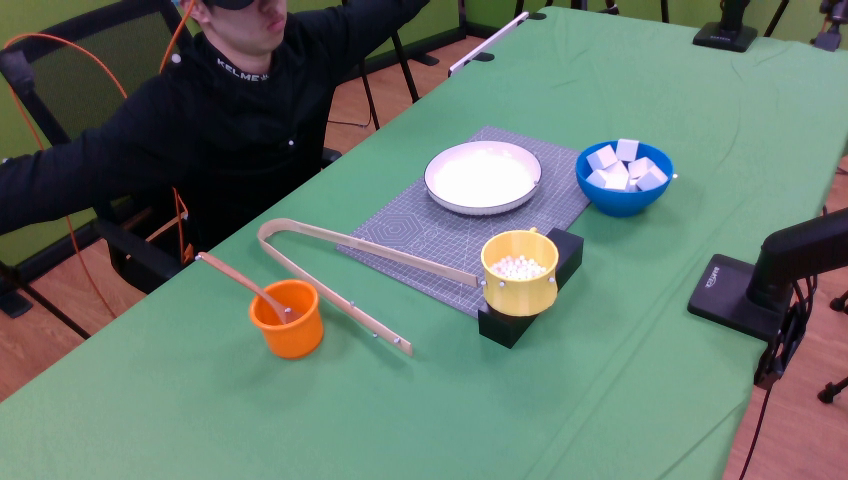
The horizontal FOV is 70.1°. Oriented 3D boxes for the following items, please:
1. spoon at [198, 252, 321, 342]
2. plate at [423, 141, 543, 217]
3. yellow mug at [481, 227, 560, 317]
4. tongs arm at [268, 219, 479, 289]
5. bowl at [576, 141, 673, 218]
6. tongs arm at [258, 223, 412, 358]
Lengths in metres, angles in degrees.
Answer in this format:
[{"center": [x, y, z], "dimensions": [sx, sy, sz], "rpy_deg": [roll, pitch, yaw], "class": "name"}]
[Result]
[{"center": [-0.220, 0.075, 0.814], "dimensions": [0.021, 0.194, 0.041], "rpy_deg": [-36, 18, 39], "class": "spoon"}, {"center": [0.103, -0.104, 1.059], "dimensions": [0.207, 0.039, 0.206], "rpy_deg": [-4, 40, 4], "class": "plate"}, {"center": [0.132, 0.032, 0.801], "dimensions": [0.099, 0.064, 0.131], "rpy_deg": [11, 43, 20], "class": "yellow mug"}, {"center": [-0.089, 0.018, 0.953], "dimensions": [0.385, 0.028, 0.028], "rpy_deg": [15, 50, 26], "class": "tongs arm"}, {"center": [0.321, -0.089, 0.984], "dimensions": [0.151, 0.077, 0.150], "rpy_deg": [-4, 40, 4], "class": "bowl"}, {"center": [-0.141, 0.063, 0.905], "dimensions": [0.381, 0.026, 0.051], "rpy_deg": [27, 52, 35], "class": "tongs arm"}]
